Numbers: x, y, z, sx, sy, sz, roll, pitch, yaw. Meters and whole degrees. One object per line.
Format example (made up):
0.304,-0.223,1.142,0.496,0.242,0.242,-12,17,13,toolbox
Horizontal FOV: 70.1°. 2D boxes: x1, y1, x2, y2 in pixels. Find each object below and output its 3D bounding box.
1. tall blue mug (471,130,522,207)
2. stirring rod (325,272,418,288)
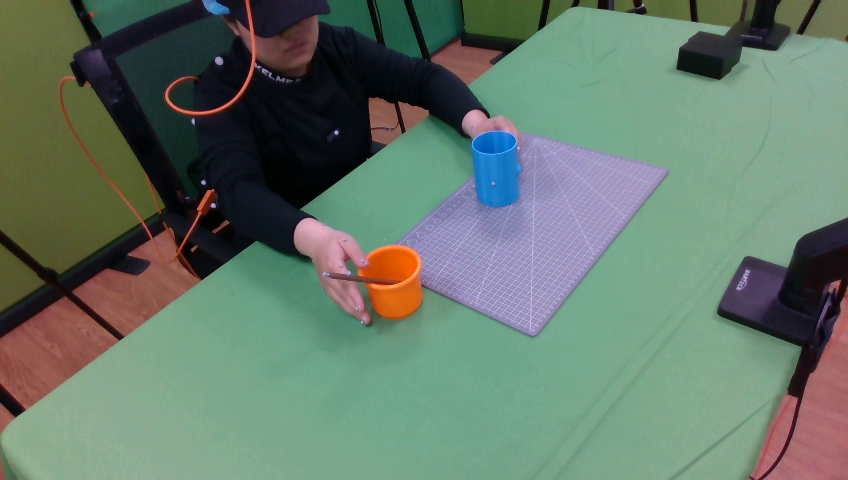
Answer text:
0.121,-0.131,1.044,0.078,0.108,0.106,-14,40,-3,tall blue mug
-0.069,0.057,0.840,0.014,0.006,0.178,28,10,39,stirring rod
